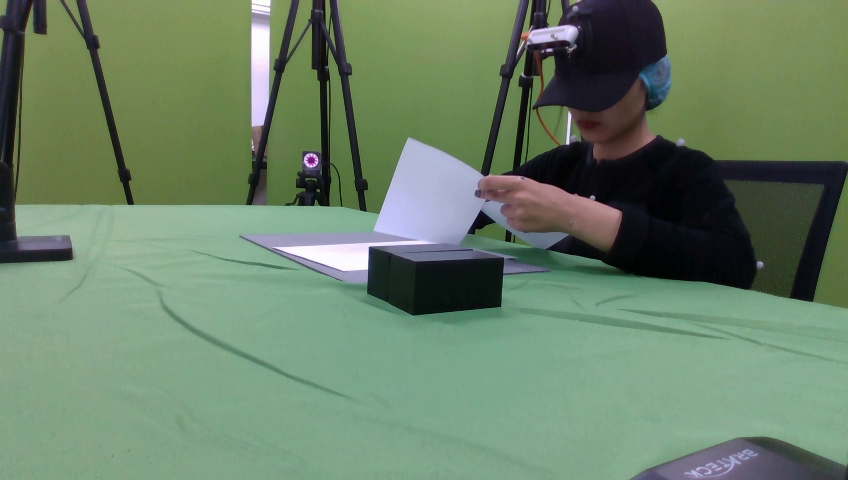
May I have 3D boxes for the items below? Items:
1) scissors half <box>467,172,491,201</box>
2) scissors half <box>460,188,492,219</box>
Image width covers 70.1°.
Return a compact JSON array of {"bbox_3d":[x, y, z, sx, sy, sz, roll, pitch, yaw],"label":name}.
[{"bbox_3d":[0.091,-0.084,0.992,0.013,0.040,0.175,12,14,-8],"label":"scissors half"},{"bbox_3d":[0.085,-0.063,0.991,0.013,0.040,0.175,17,-13,-8],"label":"scissors half"}]
